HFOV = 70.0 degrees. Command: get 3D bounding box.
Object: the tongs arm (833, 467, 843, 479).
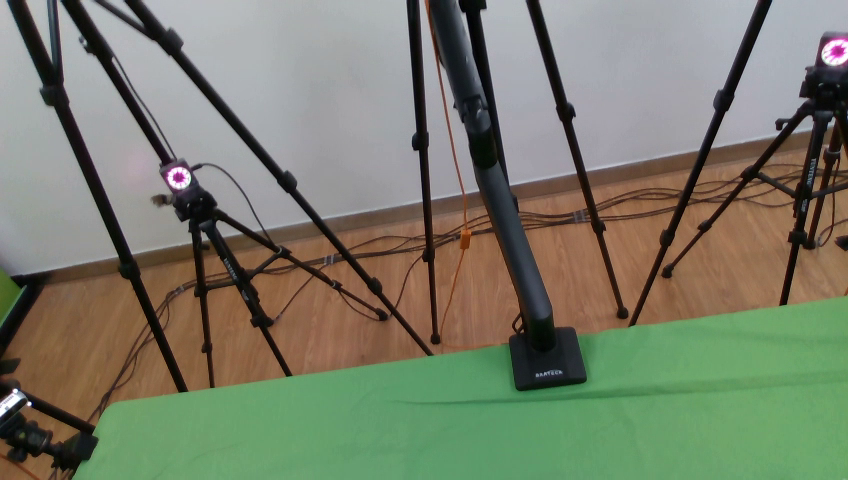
[{"bbox_3d":[0.476,0.438,0.634,0.050,0.027,0.381,-22,45,30],"label":"tongs arm"}]
